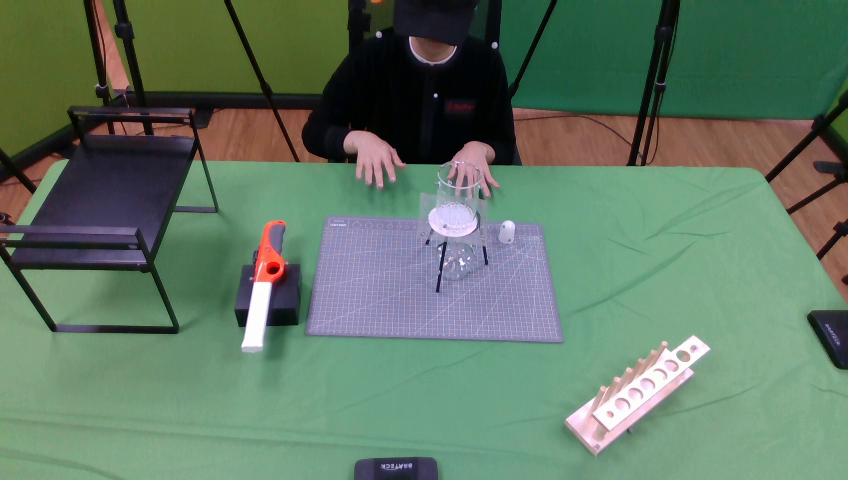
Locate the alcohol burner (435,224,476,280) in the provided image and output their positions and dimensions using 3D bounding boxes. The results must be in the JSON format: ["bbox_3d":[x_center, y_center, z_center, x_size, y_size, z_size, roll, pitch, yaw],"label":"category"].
[{"bbox_3d":[0.060,0.017,1.114,0.078,0.119,0.077,3,44,-2],"label":"alcohol burner"}]

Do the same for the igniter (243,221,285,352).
[{"bbox_3d":[-0.273,0.069,1.041,0.057,0.025,0.274,2,48,-6],"label":"igniter"}]

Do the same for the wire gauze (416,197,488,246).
[{"bbox_3d":[0.050,-0.037,1.062,0.125,0.011,0.121,3,42,4],"label":"wire gauze"}]

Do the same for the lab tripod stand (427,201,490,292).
[{"bbox_3d":[0.053,0.003,1.114,0.148,0.132,0.147,0,46,0],"label":"lab tripod stand"}]

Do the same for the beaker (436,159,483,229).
[{"bbox_3d":[0.057,-0.077,1.032,0.074,0.101,0.083,-4,44,-8],"label":"beaker"}]

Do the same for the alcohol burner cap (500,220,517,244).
[{"bbox_3d":[0.170,-0.018,1.205,0.034,0.048,0.033,1,46,0],"label":"alcohol burner cap"}]

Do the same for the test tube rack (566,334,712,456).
[{"bbox_3d":[0.339,0.228,0.950,0.242,0.085,0.066,-26,52,-26],"label":"test tube rack"}]
